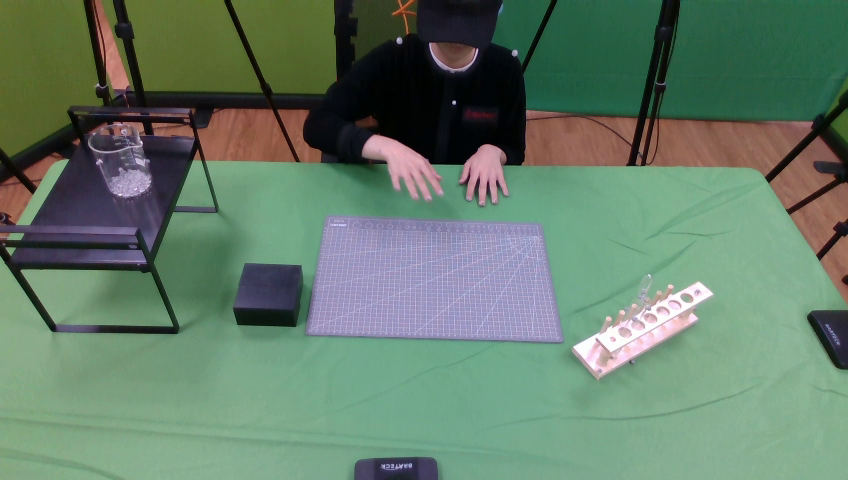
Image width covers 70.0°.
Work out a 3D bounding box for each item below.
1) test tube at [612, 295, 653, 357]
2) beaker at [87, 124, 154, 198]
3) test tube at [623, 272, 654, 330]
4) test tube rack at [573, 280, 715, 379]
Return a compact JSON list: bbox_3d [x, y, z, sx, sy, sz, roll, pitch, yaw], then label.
[{"bbox_3d":[0.329,0.141,0.966,0.017,0.151,0.017,5,45,-5],"label":"test tube"},{"bbox_3d":[-0.482,-0.124,0.978,0.084,0.101,0.073,9,46,4],"label":"beaker"},{"bbox_3d":[0.356,0.104,1.010,0.017,0.151,0.017,1,46,-1],"label":"test tube"},{"bbox_3d":[0.378,0.140,1.038,0.242,0.085,0.066,-22,51,-23],"label":"test tube rack"}]
